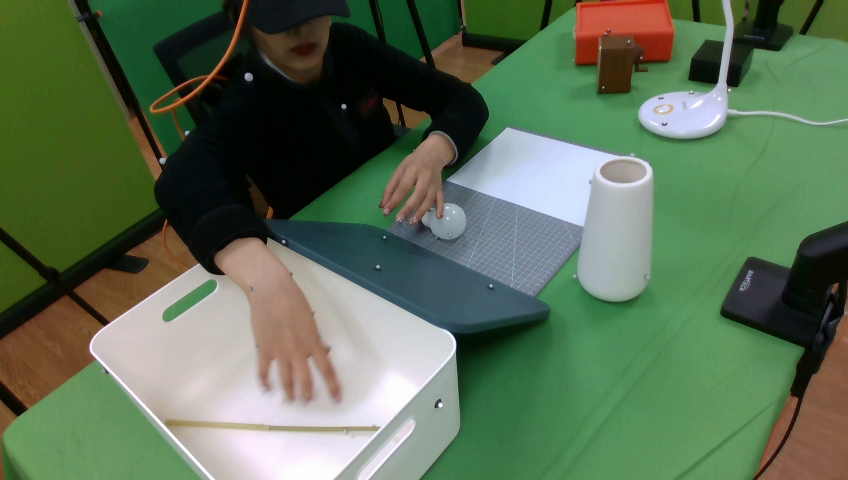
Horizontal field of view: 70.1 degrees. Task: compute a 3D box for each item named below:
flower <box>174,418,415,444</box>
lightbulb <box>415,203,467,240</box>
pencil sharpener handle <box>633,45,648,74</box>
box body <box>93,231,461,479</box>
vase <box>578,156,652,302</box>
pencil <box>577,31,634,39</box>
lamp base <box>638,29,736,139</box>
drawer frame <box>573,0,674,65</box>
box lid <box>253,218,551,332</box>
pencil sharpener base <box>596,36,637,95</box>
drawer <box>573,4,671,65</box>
[{"bbox_3d":[-0.153,0.228,0.743,0.360,0.038,0.044,-2,44,16],"label":"flower"},{"bbox_3d":[0.024,-0.034,0.999,0.060,0.060,0.107,-38,32,-30],"label":"lightbulb"},{"bbox_3d":[0.454,-0.378,1.262,0.030,0.068,0.036,1,47,13],"label":"pencil sharpener handle"},{"bbox_3d":[-0.162,0.170,0.708,0.361,0.161,0.255,25,50,34],"label":"box body"},{"bbox_3d":[0.261,-0.011,0.812,0.098,0.201,0.097,-4,40,4],"label":"vase"},{"bbox_3d":[0.431,-0.489,1.443,0.012,0.012,0.192,-25,30,-18],"label":"pencil"},{"bbox_3d":[0.501,-0.302,1.125,0.179,0.181,0.160,-4,40,3],"label":"lamp base"},{"bbox_3d":[0.464,-0.492,1.434,0.213,0.083,0.201,1,40,12],"label":"drawer frame"},{"bbox_3d":[-0.031,0.037,0.833,0.368,0.015,0.265,24,12,33],"label":"box lid"},{"bbox_3d":[0.406,-0.369,1.280,0.076,0.107,0.061,1,41,13],"label":"pencil sharpener base"},{"bbox_3d":[0.461,-0.490,1.434,0.211,0.073,0.194,2,40,12],"label":"drawer"}]
